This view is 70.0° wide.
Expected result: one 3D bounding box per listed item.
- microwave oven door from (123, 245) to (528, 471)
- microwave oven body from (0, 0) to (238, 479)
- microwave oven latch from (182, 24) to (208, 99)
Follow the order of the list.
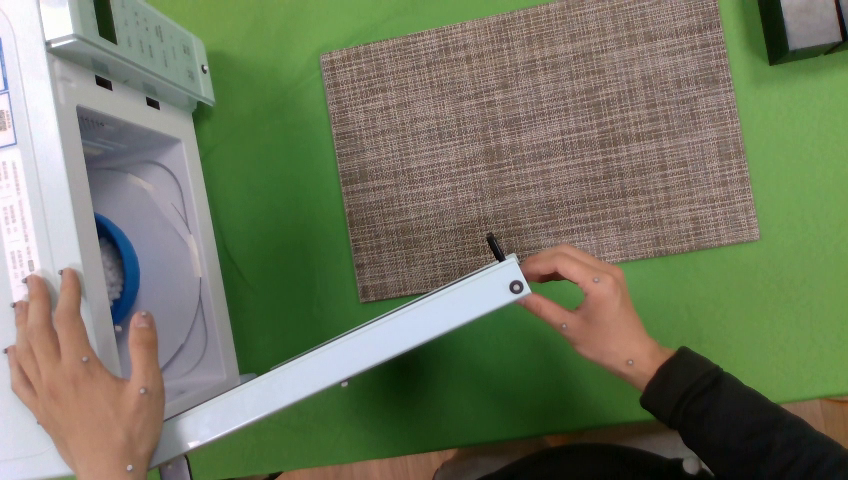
[{"bbox_3d":[-0.067,0.098,0.582,0.356,0.244,0.039,-27,86,7],"label":"microwave oven door"},{"bbox_3d":[-0.400,-0.005,0.632,0.326,0.260,0.441,-12,89,7],"label":"microwave oven body"},{"bbox_3d":[-0.277,-0.208,0.710,0.030,0.029,0.079,-11,90,8],"label":"microwave oven latch"}]
